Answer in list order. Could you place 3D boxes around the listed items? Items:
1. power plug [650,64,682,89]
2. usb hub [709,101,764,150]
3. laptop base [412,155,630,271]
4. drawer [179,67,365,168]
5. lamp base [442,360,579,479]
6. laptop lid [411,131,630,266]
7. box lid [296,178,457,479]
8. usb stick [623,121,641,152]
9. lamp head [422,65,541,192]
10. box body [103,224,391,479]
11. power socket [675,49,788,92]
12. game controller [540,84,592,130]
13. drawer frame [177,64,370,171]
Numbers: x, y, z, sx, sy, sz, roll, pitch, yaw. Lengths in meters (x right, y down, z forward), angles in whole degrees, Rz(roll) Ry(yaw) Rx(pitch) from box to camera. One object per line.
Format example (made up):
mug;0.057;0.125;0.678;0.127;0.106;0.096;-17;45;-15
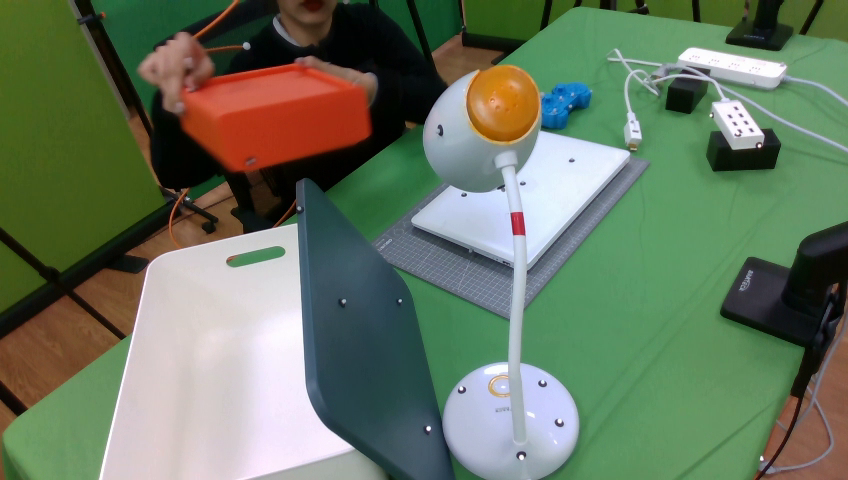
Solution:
power plug;0.498;-0.341;1.263;0.035;0.052;0.072;20;10;-7
usb hub;0.534;-0.199;1.040;0.049;0.025;0.124;-5;39;8
laptop base;0.176;-0.085;1.056;0.233;0.023;0.355;20;48;36
drawer;-0.218;-0.181;0.859;0.195;0.073;0.210;-19;32;-28
lamp base;0.094;0.158;0.657;0.161;0.181;0.178;-14;42;-5
laptop lid;0.172;-0.094;1.050;0.239;0.013;0.358;23;49;36
box lid;-0.060;0.103;0.702;0.015;0.265;0.369;-30;39;11
usb stick;0.389;-0.192;1.128;0.021;0.027;0.059;8;62;-9
lamp head;0.060;-0.106;0.560;0.113;0.112;0.122;-17;0;-8
box body;-0.190;0.161;0.723;0.255;0.161;0.361;-13;40;-5
power socket;0.647;-0.363;1.284;0.225;0.033;0.072;26;53;35
game controller;0.277;-0.282;1.251;0.096;0.052;0.155;27;52;31
drawer frame;-0.215;-0.182;0.858;0.203;0.083;0.211;-20;32;-29
